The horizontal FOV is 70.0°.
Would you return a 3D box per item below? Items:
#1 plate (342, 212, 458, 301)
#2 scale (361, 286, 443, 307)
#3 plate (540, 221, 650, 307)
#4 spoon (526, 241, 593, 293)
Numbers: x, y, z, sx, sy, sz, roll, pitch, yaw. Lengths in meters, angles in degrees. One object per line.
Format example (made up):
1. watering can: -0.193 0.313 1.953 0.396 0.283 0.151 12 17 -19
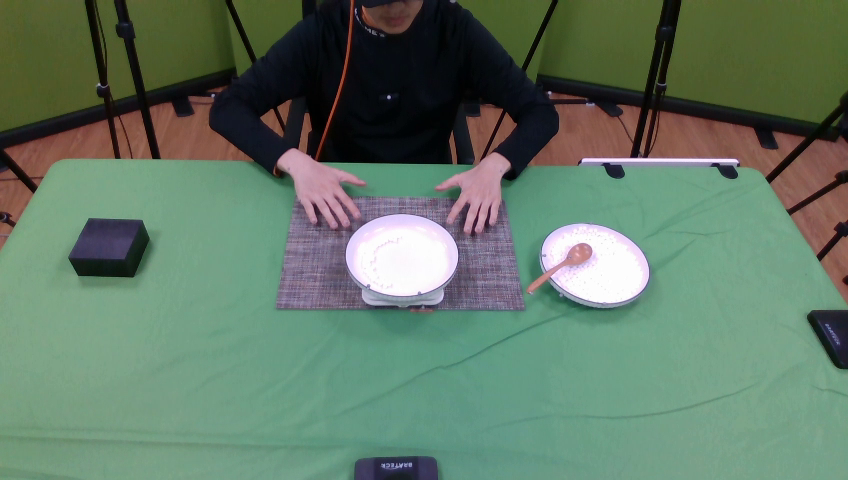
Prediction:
1. plate: -0.043 0.033 1.105 0.208 0.039 0.206 2 46 -2
2. scale: -0.042 0.041 1.142 0.149 0.032 0.199 0 46 -4
3. plate: 0.325 0.048 1.164 0.209 0.038 0.208 2 46 -2
4. spoon: 0.252 0.050 1.134 0.194 0.022 0.041 -27 53 -35
